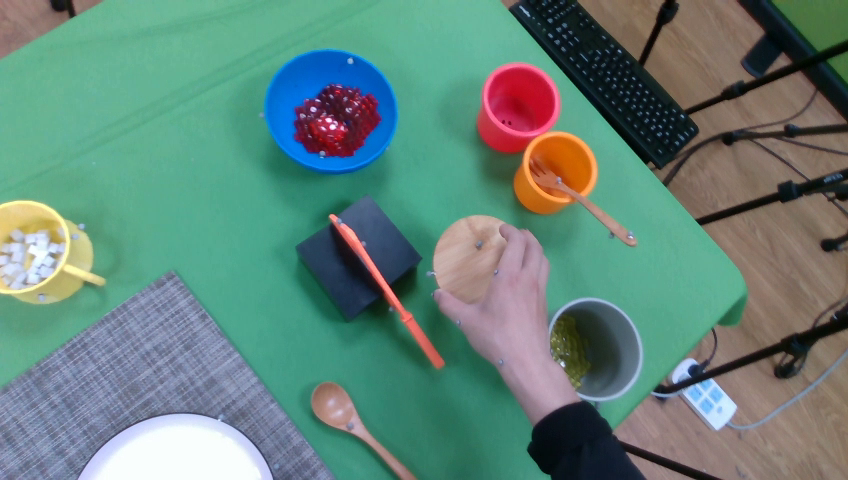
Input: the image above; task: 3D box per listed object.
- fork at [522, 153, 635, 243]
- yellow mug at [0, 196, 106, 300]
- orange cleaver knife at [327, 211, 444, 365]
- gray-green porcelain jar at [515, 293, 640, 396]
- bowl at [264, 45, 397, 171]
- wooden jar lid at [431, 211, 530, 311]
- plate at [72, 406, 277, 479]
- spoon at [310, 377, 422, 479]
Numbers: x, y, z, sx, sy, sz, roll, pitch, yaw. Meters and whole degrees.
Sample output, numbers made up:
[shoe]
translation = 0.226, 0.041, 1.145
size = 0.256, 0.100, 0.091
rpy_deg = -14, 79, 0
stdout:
[fork]
translation = 0.177, -0.053, 0.710
size = 0.028, 0.019, 0.205
rpy_deg = -23, 38, -13
[yellow mug]
translation = -0.404, 0.016, 0.648
size = 0.131, 0.064, 0.099
rpy_deg = 23, 74, -4
[orange cleaver knife]
translation = -0.044, 0.055, 0.685
size = 0.012, 0.076, 0.212
rpy_deg = -38, 108, -14
[gray-green porcelain jar]
translation = 0.164, 0.121, 0.679
size = 0.106, 0.127, 0.105
rpy_deg = 2, 76, -7
[bowl]
translation = -0.110, -0.145, 0.724
size = 0.152, 0.077, 0.150
rpy_deg = 2, 77, -8
[wooden jar lid]
translation = 0.059, 0.023, 0.650
size = 0.109, 0.021, 0.108
rpy_deg = 2, 81, -10
[plate]
translation = -0.253, 0.277, 0.619
size = 0.209, 0.038, 0.208
rpy_deg = 2, 77, -9
[spoon]
translation = -0.053, 0.227, 0.674
size = 0.193, 0.022, 0.041
rpy_deg = 43, 49, 3
